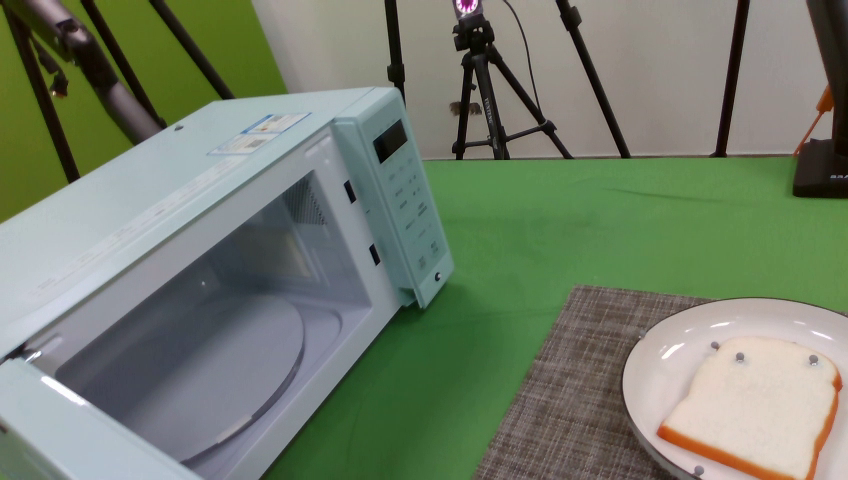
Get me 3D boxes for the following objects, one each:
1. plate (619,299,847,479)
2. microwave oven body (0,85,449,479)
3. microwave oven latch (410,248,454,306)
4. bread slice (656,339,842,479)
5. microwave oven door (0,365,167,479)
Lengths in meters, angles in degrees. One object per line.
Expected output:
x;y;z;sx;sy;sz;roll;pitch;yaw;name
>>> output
0.260;0.124;0.468;0.209;0.038;0.207;-14;30;9;plate
-0.229;0.053;0.634;0.324;0.262;0.440;5;38;34;microwave oven body
0.007;0.042;0.717;0.030;0.030;0.079;6;38;34;microwave oven latch
0.257;0.125;0.471;0.104;0.019;0.131;13;42;42;bread slice
-0.087;0.196;0.306;0.353;0.246;0.039;9;40;38;microwave oven door
